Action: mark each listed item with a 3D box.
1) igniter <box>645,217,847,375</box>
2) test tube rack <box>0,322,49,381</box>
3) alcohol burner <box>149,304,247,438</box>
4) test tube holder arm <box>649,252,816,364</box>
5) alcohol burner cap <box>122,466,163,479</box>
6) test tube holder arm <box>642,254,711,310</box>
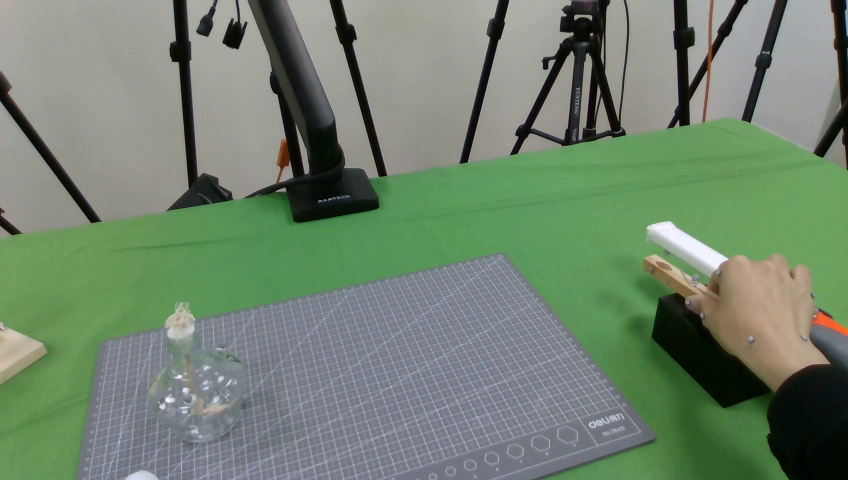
[{"bbox_3d":[0.302,0.045,0.559,0.057,0.025,0.273,-13,30,-15],"label":"igniter"},{"bbox_3d":[-0.464,0.125,0.511,0.066,0.086,0.241,14,36,24],"label":"test tube rack"},{"bbox_3d":[-0.189,0.103,0.498,0.078,0.120,0.077,-2,31,1],"label":"alcohol burner"},{"bbox_3d":[0.267,0.055,0.545,0.013,0.015,0.176,-28,35,-15],"label":"test tube holder arm"},{"bbox_3d":[-0.202,0.184,0.438,0.034,0.048,0.033,-1,32,1],"label":"alcohol burner cap"},{"bbox_3d":[0.242,0.039,0.579,0.010,0.015,0.087,-27,35,-13],"label":"test tube holder arm"}]
